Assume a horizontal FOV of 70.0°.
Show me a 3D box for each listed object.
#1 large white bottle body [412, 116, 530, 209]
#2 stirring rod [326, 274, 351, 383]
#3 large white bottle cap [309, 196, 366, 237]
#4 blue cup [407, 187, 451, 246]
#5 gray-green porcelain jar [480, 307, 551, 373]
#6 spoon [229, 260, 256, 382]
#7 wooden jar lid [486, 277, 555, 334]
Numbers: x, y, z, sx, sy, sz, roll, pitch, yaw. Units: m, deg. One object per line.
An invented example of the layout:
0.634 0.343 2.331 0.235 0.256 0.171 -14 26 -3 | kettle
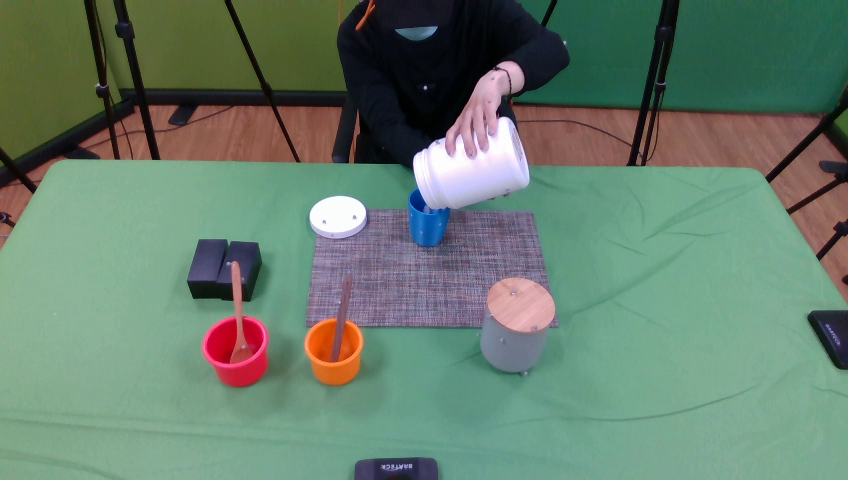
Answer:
0.083 -0.132 1.087 0.184 0.131 0.130 -17 43 18 | large white bottle body
-0.137 0.142 0.971 0.014 0.006 0.176 9 89 0 | stirring rod
-0.176 -0.049 1.229 0.115 0.018 0.114 0 44 0 | large white bottle cap
0.008 -0.042 1.177 0.093 0.101 0.092 3 47 -3 | blue cup
0.148 0.148 0.992 0.106 0.127 0.105 2 46 -2 | gray-green porcelain jar
-0.294 0.129 0.966 0.042 0.021 0.193 -4 91 -9 | spoon
0.150 0.105 0.948 0.108 0.021 0.107 3 47 -3 | wooden jar lid
